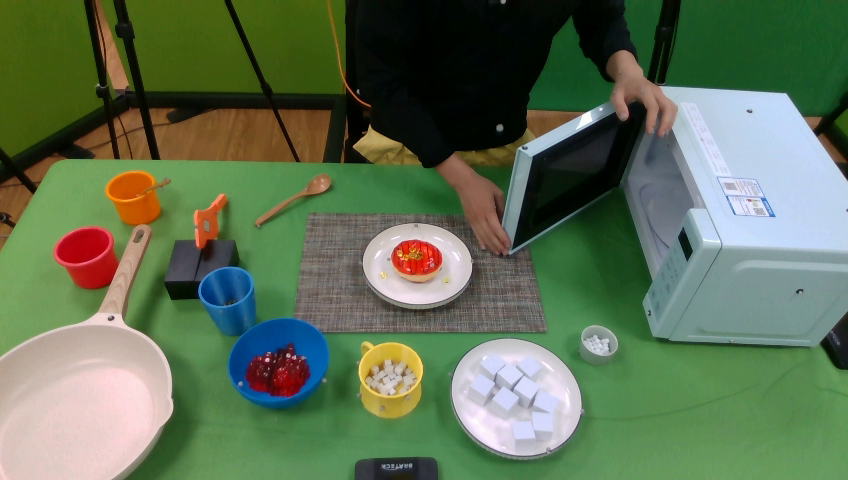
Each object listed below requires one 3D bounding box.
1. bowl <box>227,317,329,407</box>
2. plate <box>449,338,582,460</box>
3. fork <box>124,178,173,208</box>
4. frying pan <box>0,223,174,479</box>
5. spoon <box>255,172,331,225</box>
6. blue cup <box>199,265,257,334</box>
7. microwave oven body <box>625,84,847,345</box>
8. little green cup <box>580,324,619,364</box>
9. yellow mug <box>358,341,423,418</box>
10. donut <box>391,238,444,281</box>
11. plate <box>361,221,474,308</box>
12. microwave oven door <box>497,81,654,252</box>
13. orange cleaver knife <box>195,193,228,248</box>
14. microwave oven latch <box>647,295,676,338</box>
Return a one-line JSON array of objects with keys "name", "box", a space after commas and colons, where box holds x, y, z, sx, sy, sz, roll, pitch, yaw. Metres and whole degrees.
[{"name": "bowl", "box": [-0.222, 0.203, 0.947, 0.151, 0.077, 0.150, 2, 46, -2]}, {"name": "plate", "box": [0.141, 0.251, 0.955, 0.208, 0.039, 0.206, 2, 46, -2]}, {"name": "fork", "box": [-0.525, -0.090, 1.154, 0.207, 0.019, 0.028, -17, 27, 45]}, {"name": "frying pan", "box": [-0.504, 0.169, 0.941, 0.307, 0.103, 0.485, 5, 54, -1]}, {"name": "spoon", "box": [-0.272, -0.087, 1.256, 0.041, 0.022, 0.193, 43, 57, 17]}, {"name": "blue cup", "box": [-0.320, 0.106, 1.015, 0.093, 0.101, 0.092, 2, 48, -2]}, {"name": "microwave oven body", "box": [0.568, -0.054, 1.116, 0.326, 0.261, 0.439, 2, 46, -1]}, {"name": "little green cup", "box": [0.296, 0.179, 1.031, 0.061, 0.039, 0.061, 2, 45, -2]}, {"name": "yellow mug", "box": [-0.063, 0.210, 0.961, 0.100, 0.064, 0.130, -29, 54, -28]}, {"name": "donut", "box": [-0.012, 0.035, 1.128, 0.099, 0.048, 0.098, 2, 43, -2]}, {"name": "plate", "box": [-0.011, 0.049, 1.130, 0.209, 0.038, 0.208, 2, 46, -2]}, {"name": "microwave oven door", "box": [0.296, -0.145, 1.176, 0.356, 0.245, 0.039, -29, 55, -28]}, {"name": "orange cleaver knife", "box": [-0.406, -0.041, 1.163, 0.012, 0.077, 0.210, 0, 18, -3]}, {"name": "microwave oven latch", "box": [0.413, 0.133, 1.060, 0.030, 0.029, 0.078, 4, 46, 1]}]
